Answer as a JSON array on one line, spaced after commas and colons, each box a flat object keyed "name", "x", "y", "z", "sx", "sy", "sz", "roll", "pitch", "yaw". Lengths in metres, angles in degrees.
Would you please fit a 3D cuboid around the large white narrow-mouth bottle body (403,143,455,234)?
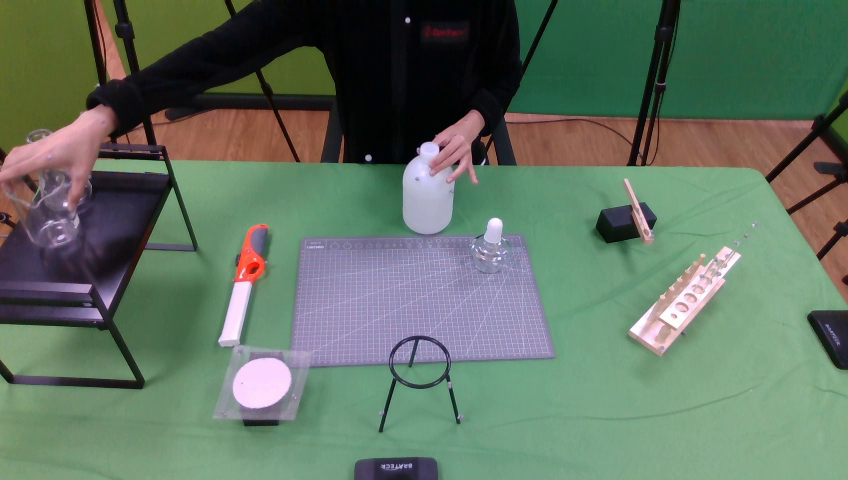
[{"name": "large white narrow-mouth bottle body", "x": 0.010, "y": -0.107, "z": 1.176, "sx": 0.102, "sy": 0.195, "sz": 0.101, "roll": 1, "pitch": 50, "yaw": -1}]

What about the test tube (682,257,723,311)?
[{"name": "test tube", "x": 0.475, "y": 0.080, "z": 1.037, "sx": 0.017, "sy": 0.151, "sz": 0.017, "roll": 1, "pitch": 50, "yaw": -1}]

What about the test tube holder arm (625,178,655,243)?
[{"name": "test tube holder arm", "x": 0.433, "y": -0.062, "z": 1.220, "sx": 0.013, "sy": 0.015, "sz": 0.177, "roll": 0, "pitch": 47, "yaw": -3}]

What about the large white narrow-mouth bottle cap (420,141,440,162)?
[{"name": "large white narrow-mouth bottle cap", "x": 0.011, "y": -0.162, "z": 1.110, "sx": 0.038, "sy": 0.024, "sz": 0.037, "roll": 1, "pitch": 50, "yaw": -1}]

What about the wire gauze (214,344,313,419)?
[{"name": "wire gauze", "x": -0.241, "y": 0.213, "z": 0.915, "sx": 0.121, "sy": 0.011, "sz": 0.124, "roll": 5, "pitch": 46, "yaw": 1}]

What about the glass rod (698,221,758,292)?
[{"name": "glass rod", "x": 0.527, "y": 0.035, "z": 1.059, "sx": 0.008, "sy": 0.200, "sz": 0.008, "roll": 5, "pitch": 49, "yaw": -6}]

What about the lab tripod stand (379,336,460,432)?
[{"name": "lab tripod stand", "x": -0.010, "y": 0.214, "z": 0.911, "sx": 0.148, "sy": 0.132, "sz": 0.147, "roll": 1, "pitch": 45, "yaw": 0}]

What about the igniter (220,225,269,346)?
[{"name": "igniter", "x": -0.323, "y": 0.072, "z": 1.100, "sx": 0.057, "sy": 0.025, "sz": 0.275, "roll": -6, "pitch": 46, "yaw": 5}]

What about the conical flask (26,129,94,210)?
[{"name": "conical flask", "x": -0.575, "y": -0.113, "z": 0.945, "sx": 0.075, "sy": 0.122, "sz": 0.075, "roll": 1, "pitch": 46, "yaw": -1}]

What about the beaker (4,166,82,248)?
[{"name": "beaker", "x": -0.545, "y": -0.043, "z": 0.875, "sx": 0.074, "sy": 0.101, "sz": 0.083, "roll": -12, "pitch": 47, "yaw": -18}]

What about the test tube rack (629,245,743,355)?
[{"name": "test tube rack", "x": 0.474, "y": 0.095, "z": 1.091, "sx": 0.242, "sy": 0.085, "sz": 0.066, "roll": -34, "pitch": 56, "yaw": -31}]

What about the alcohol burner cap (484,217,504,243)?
[{"name": "alcohol burner cap", "x": 0.129, "y": -0.021, "z": 1.107, "sx": 0.034, "sy": 0.048, "sz": 0.033, "roll": 4, "pitch": 41, "yaw": -3}]

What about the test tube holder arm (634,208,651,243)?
[{"name": "test tube holder arm", "x": 0.428, "y": -0.030, "z": 1.189, "sx": 0.010, "sy": 0.015, "sz": 0.087, "roll": 1, "pitch": 47, "yaw": -2}]

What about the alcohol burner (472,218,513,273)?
[{"name": "alcohol burner", "x": 0.128, "y": 0.005, "z": 1.132, "sx": 0.078, "sy": 0.120, "sz": 0.077, "roll": 0, "pitch": 47, "yaw": 0}]
